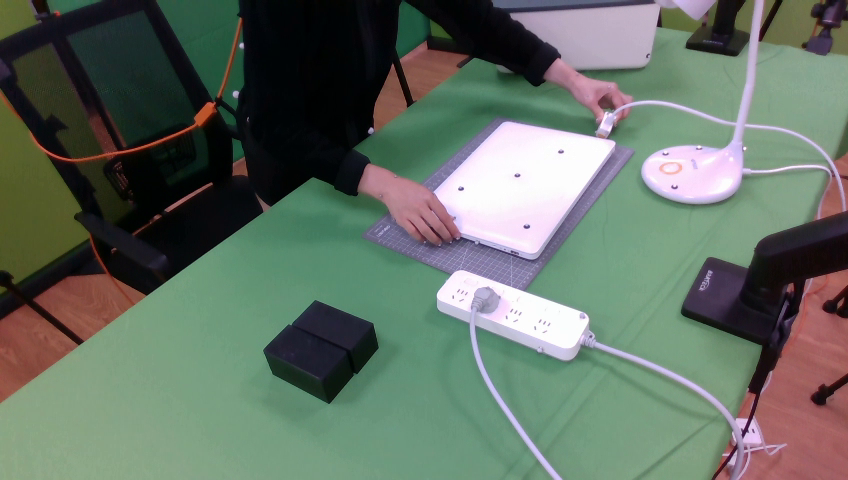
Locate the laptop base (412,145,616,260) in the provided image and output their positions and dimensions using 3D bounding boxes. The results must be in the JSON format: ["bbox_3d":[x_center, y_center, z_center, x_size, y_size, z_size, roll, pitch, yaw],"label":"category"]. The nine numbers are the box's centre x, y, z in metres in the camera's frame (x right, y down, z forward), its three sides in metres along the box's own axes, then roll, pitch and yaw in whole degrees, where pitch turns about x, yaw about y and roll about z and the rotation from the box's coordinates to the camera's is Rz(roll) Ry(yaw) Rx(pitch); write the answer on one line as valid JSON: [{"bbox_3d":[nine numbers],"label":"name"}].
[{"bbox_3d":[0.168,-0.101,1.072,0.234,0.023,0.355,17,45,30],"label":"laptop base"}]

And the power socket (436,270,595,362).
[{"bbox_3d":[0.118,0.101,0.832,0.225,0.033,0.072,19,48,27],"label":"power socket"}]

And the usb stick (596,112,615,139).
[{"bbox_3d":[0.345,-0.213,1.154,0.021,0.027,0.059,24,67,2],"label":"usb stick"}]

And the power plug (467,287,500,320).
[{"bbox_3d":[0.073,0.092,0.814,0.035,0.053,0.073,29,54,34],"label":"power plug"}]

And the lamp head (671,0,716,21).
[{"bbox_3d":[0.375,-0.373,0.807,0.122,0.113,0.112,-40,27,32],"label":"lamp head"}]

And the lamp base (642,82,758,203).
[{"bbox_3d":[0.464,-0.174,0.992,0.179,0.181,0.159,-5,41,-1],"label":"lamp base"}]

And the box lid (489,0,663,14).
[{"bbox_3d":[0.340,-0.575,1.380,0.371,0.015,0.262,0,41,9],"label":"box lid"}]

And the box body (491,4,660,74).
[{"bbox_3d":[0.346,-0.520,1.429,0.363,0.161,0.253,0,41,9],"label":"box body"}]

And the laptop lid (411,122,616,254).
[{"bbox_3d":[0.165,-0.110,1.066,0.240,0.013,0.357,19,46,30],"label":"laptop lid"}]

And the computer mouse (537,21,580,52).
[{"bbox_3d":[0.335,-0.503,1.487,0.118,0.041,0.062,21,20,-28],"label":"computer mouse"}]
